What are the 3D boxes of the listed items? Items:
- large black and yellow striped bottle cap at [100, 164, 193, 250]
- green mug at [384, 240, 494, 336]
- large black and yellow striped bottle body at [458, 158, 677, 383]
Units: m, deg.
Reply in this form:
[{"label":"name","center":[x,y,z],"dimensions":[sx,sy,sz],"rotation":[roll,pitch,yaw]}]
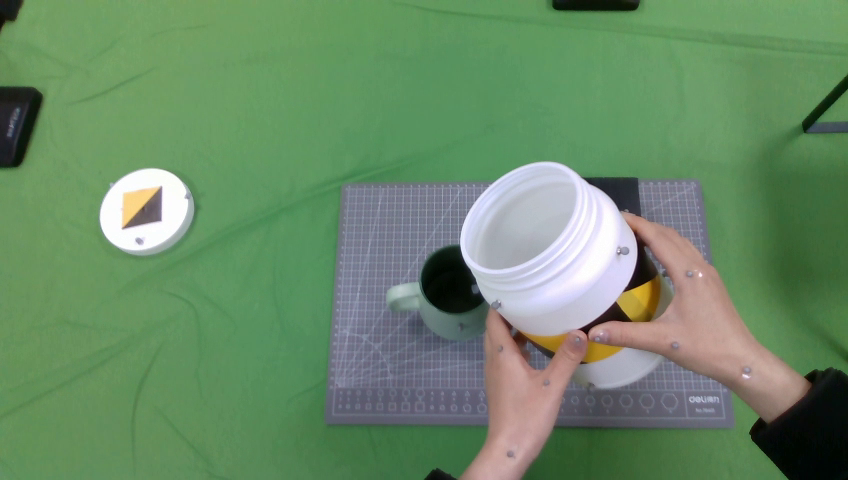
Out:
[{"label":"large black and yellow striped bottle cap","center":[-0.354,-0.043,0.771],"dimensions":[0.115,0.019,0.114],"rotation":[-1,69,3]},{"label":"green mug","center":[0.018,0.056,0.668],"dimensions":[0.125,0.105,0.092],"rotation":[-7,70,0]},{"label":"large black and yellow striped bottle body","center":[0.124,0.028,0.523],"dimensions":[0.130,0.186,0.129],"rotation":[-26,41,25]}]
